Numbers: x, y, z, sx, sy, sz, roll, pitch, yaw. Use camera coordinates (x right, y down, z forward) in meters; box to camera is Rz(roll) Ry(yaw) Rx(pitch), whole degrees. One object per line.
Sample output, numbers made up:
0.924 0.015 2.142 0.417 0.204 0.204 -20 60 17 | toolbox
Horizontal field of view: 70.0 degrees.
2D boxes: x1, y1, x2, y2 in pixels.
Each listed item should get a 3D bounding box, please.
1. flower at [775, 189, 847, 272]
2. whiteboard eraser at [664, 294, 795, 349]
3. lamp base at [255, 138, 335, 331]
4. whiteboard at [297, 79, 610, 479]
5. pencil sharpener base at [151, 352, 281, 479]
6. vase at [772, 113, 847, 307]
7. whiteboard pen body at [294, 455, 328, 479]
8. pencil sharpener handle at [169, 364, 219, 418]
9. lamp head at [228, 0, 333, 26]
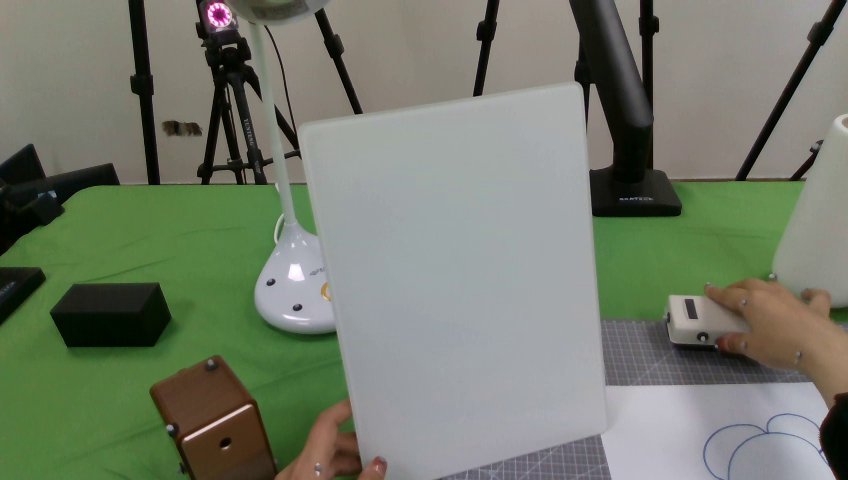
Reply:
0.441 -0.087 0.571 0.044 0.364 0.038 -12 51 -24 | flower
0.304 0.083 0.610 0.112 0.042 0.055 0 32 12 | whiteboard eraser
-0.132 -0.016 0.684 0.161 0.182 0.177 -29 39 -33 | lamp base
0.024 0.030 0.538 0.217 0.307 0.143 -11 15 -10 | whiteboard
-0.167 0.156 0.490 0.061 0.108 0.076 -25 39 -29 | pencil sharpener base
0.437 -0.027 0.630 0.098 0.201 0.097 -2 34 1 | vase
-0.119 0.220 0.466 0.017 0.017 0.140 13 34 24 | whiteboard pen body
-0.197 0.125 0.519 0.036 0.068 0.030 -32 42 -24 | pencil sharpener handle
-0.130 -0.251 0.486 0.112 0.113 0.122 -22 62 -25 | lamp head
